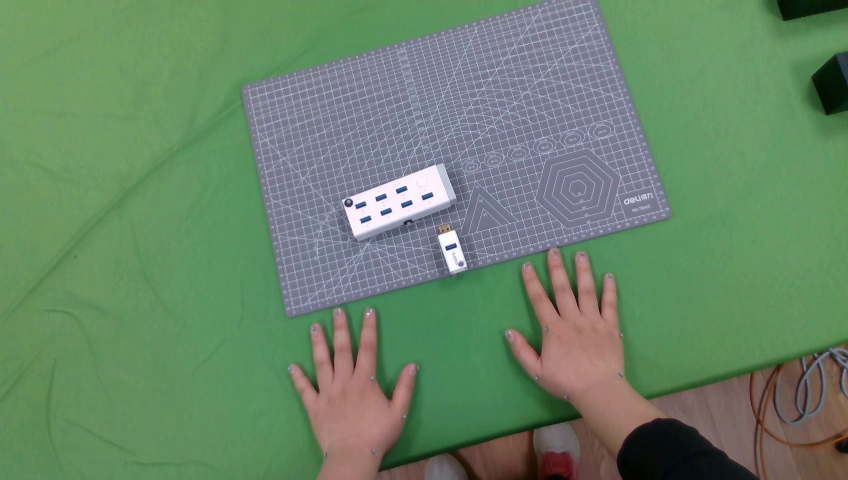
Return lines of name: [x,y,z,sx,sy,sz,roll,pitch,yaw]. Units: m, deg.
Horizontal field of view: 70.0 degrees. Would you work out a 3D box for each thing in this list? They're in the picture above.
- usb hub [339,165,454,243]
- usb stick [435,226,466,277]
usb hub: [-0.031,-0.042,0.696,0.125,0.025,0.049,-21,76,0]
usb stick: [0.027,0.010,0.679,0.021,0.027,0.059,-20,74,5]
